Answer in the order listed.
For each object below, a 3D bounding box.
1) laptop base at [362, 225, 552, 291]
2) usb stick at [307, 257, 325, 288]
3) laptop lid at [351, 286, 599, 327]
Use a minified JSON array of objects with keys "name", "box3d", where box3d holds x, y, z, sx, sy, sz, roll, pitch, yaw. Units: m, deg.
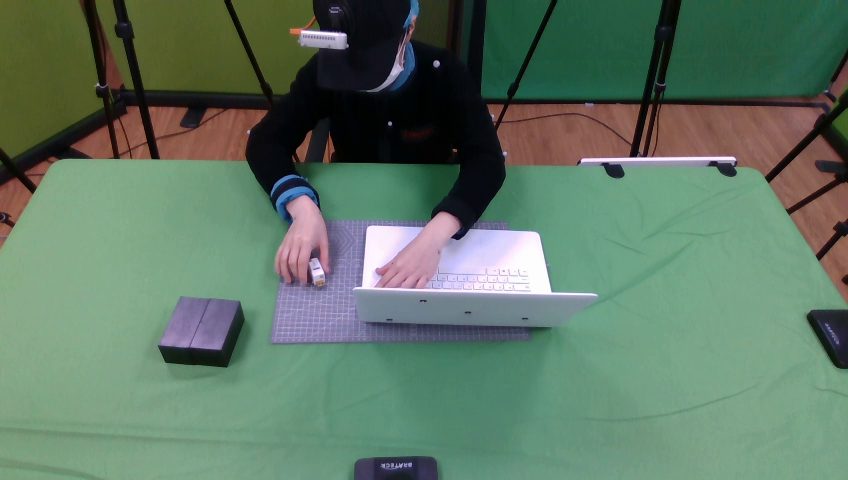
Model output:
[{"name":"laptop base","box3d":[0.061,0.063,1.145,0.354,0.023,0.234,2,43,-3]},{"name":"usb stick","box3d":[-0.198,0.062,1.116,0.021,0.027,0.059,-16,53,-17]},{"name":"laptop lid","box3d":[0.068,0.109,0.952,0.357,0.242,0.013,2,71,-4]}]
